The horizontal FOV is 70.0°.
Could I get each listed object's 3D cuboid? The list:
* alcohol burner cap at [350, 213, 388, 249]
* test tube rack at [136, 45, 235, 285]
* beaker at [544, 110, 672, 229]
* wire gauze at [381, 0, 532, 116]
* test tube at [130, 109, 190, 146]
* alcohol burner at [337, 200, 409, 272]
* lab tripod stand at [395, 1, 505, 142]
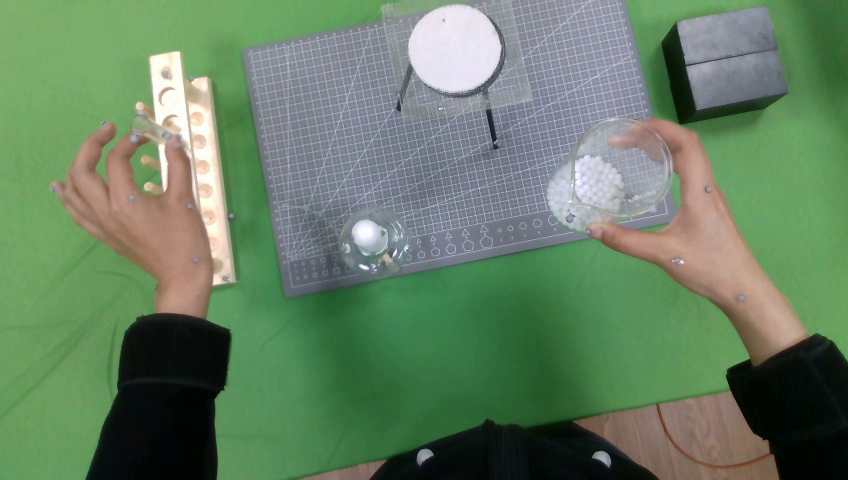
[{"bbox_3d":[-0.056,-0.010,0.595,0.034,0.048,0.033,-1,82,8],"label":"alcohol burner cap"},{"bbox_3d":[-0.267,-0.076,0.663,0.067,0.085,0.241,-9,84,2],"label":"test tube rack"},{"bbox_3d":[0.139,-0.048,0.485,0.084,0.100,0.074,-36,85,-6],"label":"beaker"},{"bbox_3d":[0.029,-0.182,0.568,0.125,0.011,0.121,-10,85,1],"label":"wire gauze"},{"bbox_3d":[-0.229,-0.097,0.534,0.017,0.149,0.017,-1,94,-10],"label":"test tube"},{"bbox_3d":[-0.055,-0.006,0.631,0.078,0.119,0.077,0,84,2],"label":"alcohol burner"},{"bbox_3d":[0.035,-0.180,0.634,0.148,0.132,0.148,0,83,4],"label":"lab tripod stand"}]
